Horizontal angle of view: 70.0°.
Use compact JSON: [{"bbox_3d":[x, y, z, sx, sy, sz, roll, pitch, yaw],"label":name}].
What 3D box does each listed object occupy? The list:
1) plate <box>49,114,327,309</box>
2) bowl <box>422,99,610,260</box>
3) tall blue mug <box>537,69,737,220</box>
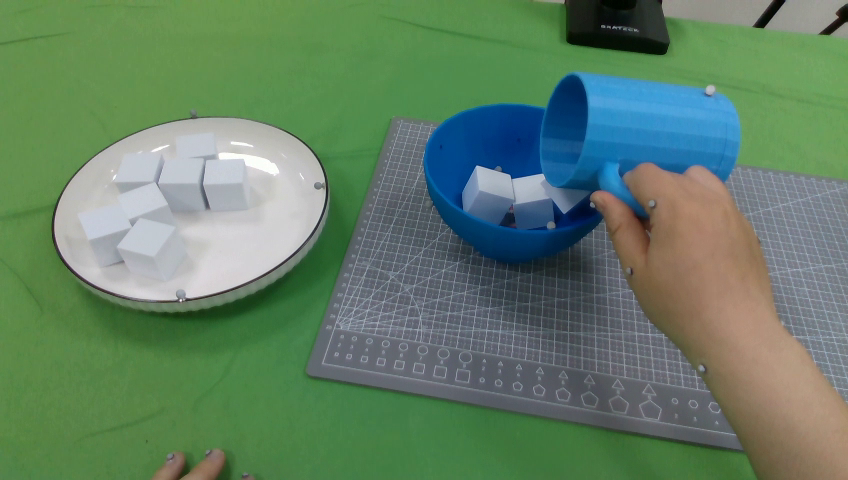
[{"bbox_3d":[-0.182,-0.026,0.490,0.209,0.038,0.207,3,49,-2],"label":"plate"},{"bbox_3d":[0.071,-0.037,0.487,0.151,0.077,0.150,2,48,-2],"label":"bowl"},{"bbox_3d":[0.145,-0.065,0.402,0.108,0.078,0.106,4,21,-13],"label":"tall blue mug"}]
